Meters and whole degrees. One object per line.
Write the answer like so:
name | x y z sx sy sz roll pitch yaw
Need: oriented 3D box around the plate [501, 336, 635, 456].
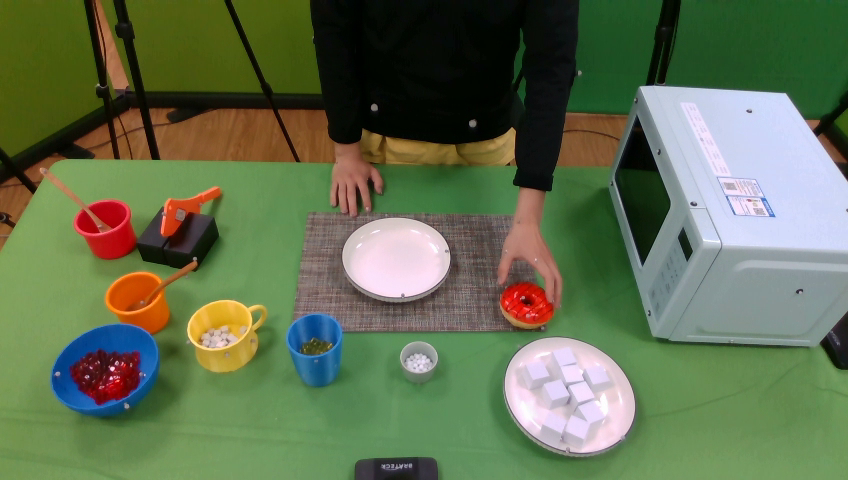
plate | 0.225 0.248 0.963 0.208 0.039 0.206 2 46 -2

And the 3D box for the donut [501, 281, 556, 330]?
donut | 0.185 0.116 1.079 0.099 0.048 0.098 4 45 -3

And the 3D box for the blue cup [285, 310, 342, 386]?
blue cup | -0.170 0.179 0.958 0.093 0.101 0.092 2 44 -1

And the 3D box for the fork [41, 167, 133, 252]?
fork | -0.624 -0.056 1.121 0.208 0.018 0.028 49 51 -15

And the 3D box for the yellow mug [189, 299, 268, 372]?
yellow mug | -0.316 0.148 1.002 0.131 0.064 0.099 -32 56 -31

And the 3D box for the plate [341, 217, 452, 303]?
plate | -0.052 0.040 1.140 0.209 0.038 0.208 2 46 -2

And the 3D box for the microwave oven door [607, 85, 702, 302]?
microwave oven door | 0.423 -0.094 1.140 0.039 0.245 0.353 2 46 -1

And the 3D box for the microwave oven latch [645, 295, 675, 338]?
microwave oven latch | 0.411 0.134 1.061 0.030 0.029 0.078 3 45 0

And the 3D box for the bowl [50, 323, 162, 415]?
bowl | -0.472 0.209 0.924 0.151 0.077 0.150 3 45 -2

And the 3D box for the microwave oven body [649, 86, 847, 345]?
microwave oven body | 0.568 -0.053 1.118 0.326 0.261 0.439 2 45 -1

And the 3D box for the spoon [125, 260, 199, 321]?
spoon | -0.434 0.083 0.999 0.022 0.194 0.041 34 34 -35

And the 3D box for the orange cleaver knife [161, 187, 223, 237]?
orange cleaver knife | -0.448 -0.058 1.181 0.012 0.077 0.211 13 17 6

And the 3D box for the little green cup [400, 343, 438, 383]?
little green cup | -0.010 0.202 0.991 0.061 0.039 0.061 2 47 -2
